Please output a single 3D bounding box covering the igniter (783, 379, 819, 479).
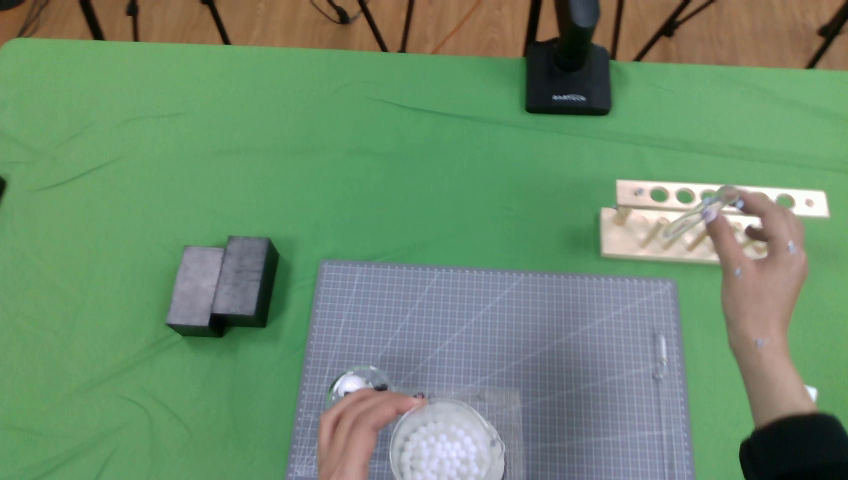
[{"bbox_3d":[0.402,0.286,0.641,0.057,0.025,0.275,14,67,-4],"label":"igniter"}]

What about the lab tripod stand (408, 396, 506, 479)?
[{"bbox_3d":[0.031,0.221,0.615,0.148,0.132,0.147,-1,65,3],"label":"lab tripod stand"}]

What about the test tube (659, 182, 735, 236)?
[{"bbox_3d":[0.255,-0.026,0.576,0.017,0.151,0.017,0,78,3],"label":"test tube"}]

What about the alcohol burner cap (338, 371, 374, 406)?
[{"bbox_3d":[-0.071,0.151,0.619,0.034,0.048,0.033,-2,70,7],"label":"alcohol burner cap"}]

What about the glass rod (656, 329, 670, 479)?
[{"bbox_3d":[0.272,0.199,0.688,0.008,0.008,0.198,4,70,3],"label":"glass rod"}]

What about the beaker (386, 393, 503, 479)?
[{"bbox_3d":[0.015,0.165,0.470,0.084,0.101,0.073,-4,66,-2],"label":"beaker"}]

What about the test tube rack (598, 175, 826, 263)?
[{"bbox_3d":[0.347,-0.025,0.745,0.242,0.086,0.066,3,66,3],"label":"test tube rack"}]

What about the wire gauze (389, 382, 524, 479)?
[{"bbox_3d":[0.028,0.191,0.555,0.125,0.011,0.120,0,65,1],"label":"wire gauze"}]

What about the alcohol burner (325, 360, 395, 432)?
[{"bbox_3d":[-0.070,0.164,0.653,0.078,0.120,0.077,0,64,1],"label":"alcohol burner"}]
